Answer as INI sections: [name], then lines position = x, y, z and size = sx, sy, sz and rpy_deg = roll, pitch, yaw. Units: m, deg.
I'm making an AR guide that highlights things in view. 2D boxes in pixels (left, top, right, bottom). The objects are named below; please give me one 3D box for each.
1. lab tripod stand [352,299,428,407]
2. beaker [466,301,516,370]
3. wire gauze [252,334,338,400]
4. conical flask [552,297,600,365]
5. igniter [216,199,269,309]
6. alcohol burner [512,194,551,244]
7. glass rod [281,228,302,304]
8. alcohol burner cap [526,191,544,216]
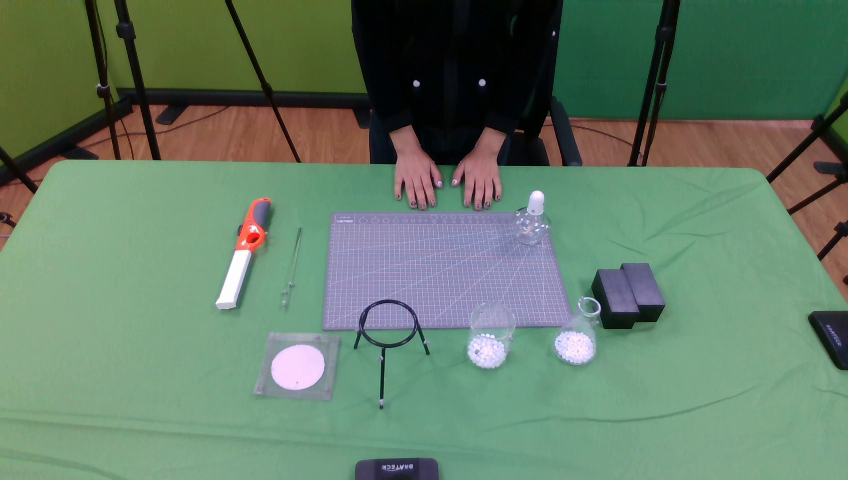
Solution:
[lab tripod stand]
position = -0.056, 0.166, 0.958
size = 0.148, 0.132, 0.147
rpy_deg = 3, 44, -2
[beaker]
position = 0.106, 0.162, 0.998
size = 0.084, 0.101, 0.073
rpy_deg = -31, 55, -29
[wire gauze]
position = -0.209, 0.204, 0.996
size = 0.125, 0.011, 0.120
rpy_deg = 3, 45, 1
[conical flask]
position = 0.261, 0.147, 1.010
size = 0.075, 0.122, 0.075
rpy_deg = 2, 46, -2
[igniter]
position = -0.342, 0.016, 1.153
size = 0.057, 0.025, 0.275
rpy_deg = -3, 45, 7
[alcohol burner]
position = 0.215, -0.048, 1.196
size = 0.078, 0.119, 0.077
rpy_deg = 4, 46, -4
[glass rod]
position = -0.250, 0.045, 1.146
size = 0.008, 0.008, 0.198
rpy_deg = 2, 43, -1
[alcohol burner cap]
position = 0.216, -0.073, 1.170
size = 0.034, 0.048, 0.033
rpy_deg = 0, 42, 0
